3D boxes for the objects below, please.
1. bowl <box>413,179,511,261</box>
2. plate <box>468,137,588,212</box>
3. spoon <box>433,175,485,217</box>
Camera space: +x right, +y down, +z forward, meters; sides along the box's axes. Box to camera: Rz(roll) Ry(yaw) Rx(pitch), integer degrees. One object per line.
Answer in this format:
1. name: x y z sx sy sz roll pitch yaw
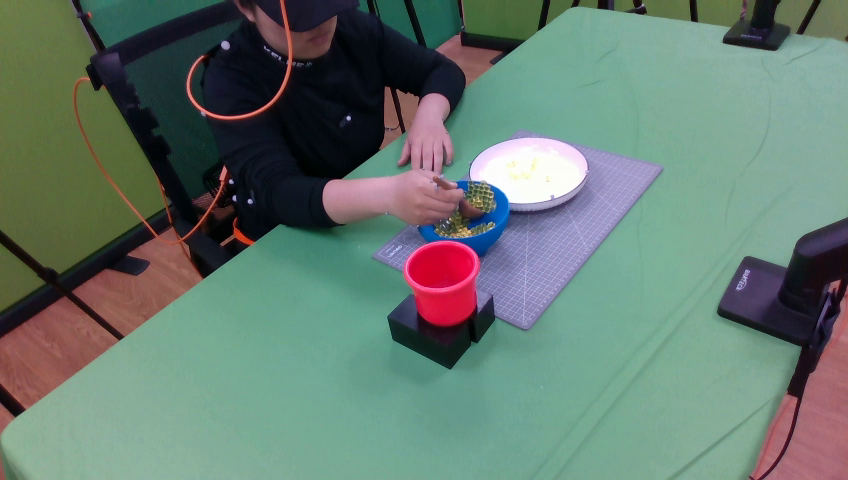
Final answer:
1. bowl: 0.062 -0.021 0.948 0.151 0.077 0.150 -5 40 5
2. plate: 0.181 -0.112 1.064 0.207 0.039 0.206 -5 40 5
3. spoon: 0.049 -0.064 0.893 0.041 0.195 0.021 5 76 23
